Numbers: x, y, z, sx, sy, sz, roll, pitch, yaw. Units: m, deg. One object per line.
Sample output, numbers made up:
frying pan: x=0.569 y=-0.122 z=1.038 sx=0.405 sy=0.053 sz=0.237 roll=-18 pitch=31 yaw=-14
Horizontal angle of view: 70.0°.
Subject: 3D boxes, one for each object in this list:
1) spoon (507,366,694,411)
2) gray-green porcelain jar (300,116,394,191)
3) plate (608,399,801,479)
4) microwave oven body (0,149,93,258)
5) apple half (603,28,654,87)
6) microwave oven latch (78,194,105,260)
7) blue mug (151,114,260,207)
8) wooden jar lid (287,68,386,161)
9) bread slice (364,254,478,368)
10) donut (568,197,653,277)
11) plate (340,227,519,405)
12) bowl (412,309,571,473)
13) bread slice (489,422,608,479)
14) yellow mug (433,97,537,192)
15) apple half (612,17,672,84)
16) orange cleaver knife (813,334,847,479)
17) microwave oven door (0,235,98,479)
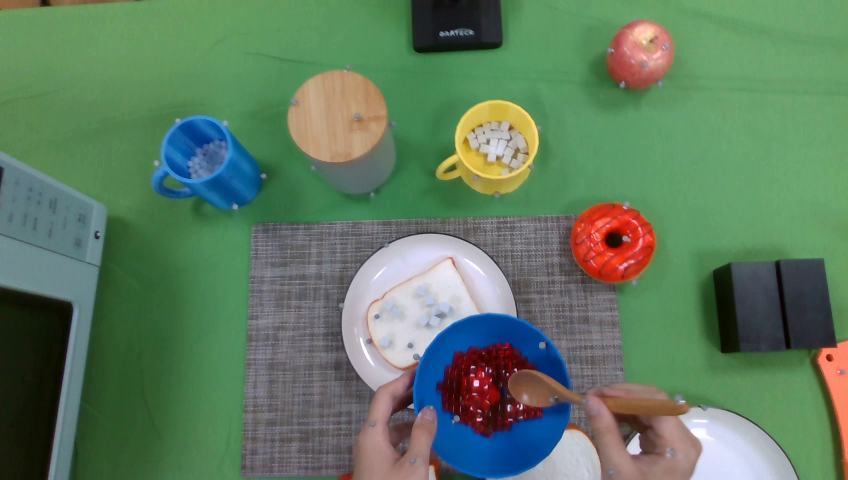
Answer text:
spoon: x=0.134 y=0.126 z=0.497 sx=0.021 sy=0.193 sz=0.042 roll=-33 pitch=101 yaw=-27
gray-green porcelain jar: x=-0.092 y=-0.121 z=0.724 sx=0.106 sy=0.127 sz=0.105 roll=-1 pitch=77 yaw=3
plate: x=0.303 y=0.280 z=0.665 sx=0.209 sy=0.038 sz=0.208 roll=-1 pitch=78 yaw=3
microwave oven body: x=-0.573 y=0.132 z=0.619 sx=0.326 sy=0.261 sz=0.439 roll=1 pitch=79 yaw=3
apple half: x=0.245 y=-0.218 z=0.754 sx=0.033 sy=0.081 sz=0.081 roll=-34 pitch=78 yaw=-10
microwave oven latch: x=-0.414 y=-0.016 z=0.742 sx=0.030 sy=0.029 sz=0.079 roll=3 pitch=79 yaw=3
blue mug: x=-0.270 y=-0.086 z=0.734 sx=0.116 sy=0.106 sz=0.082 roll=-27 pitch=77 yaw=-3
wooden jar lid: x=-0.095 y=-0.135 z=0.663 sx=0.108 sy=0.021 sz=0.108 roll=-1 pitch=76 yaw=3
bread slice: x=-0.003 y=0.091 z=0.717 sx=0.131 sy=0.019 sz=0.104 roll=-28 pitch=78 yaw=-4
donut: x=0.221 y=-0.004 z=0.722 sx=0.099 sy=0.048 sz=0.098 roll=0 pitch=79 yaw=3
plate: x=0.006 y=0.089 z=0.716 sx=0.207 sy=0.039 sz=0.206 roll=0 pitch=78 yaw=3
bowl: x=0.061 y=0.145 z=0.598 sx=0.151 sy=0.077 sz=0.151 roll=1 pitch=80 yaw=-4
bread slice: x=0.135 y=0.254 z=0.651 sx=0.135 sy=0.018 sz=0.106 roll=-5 pitch=74 yaw=-19
yellow mug: x=0.071 y=-0.110 z=0.745 sx=0.131 sy=0.064 sz=0.099 roll=-25 pitch=78 yaw=-2
apple half: x=0.277 y=-0.240 z=0.759 sx=0.053 sy=0.075 sz=0.080 roll=-33 pitch=74 yaw=-10
orange cleaver knife: x=0.490 y=0.208 z=0.682 sx=0.077 sy=0.012 sz=0.210 roll=0 pitch=77 yaw=-4
microwave oven door: x=-0.430 y=0.176 z=0.598 sx=0.039 sy=0.245 sz=0.354 roll=1 pitch=78 yaw=3
